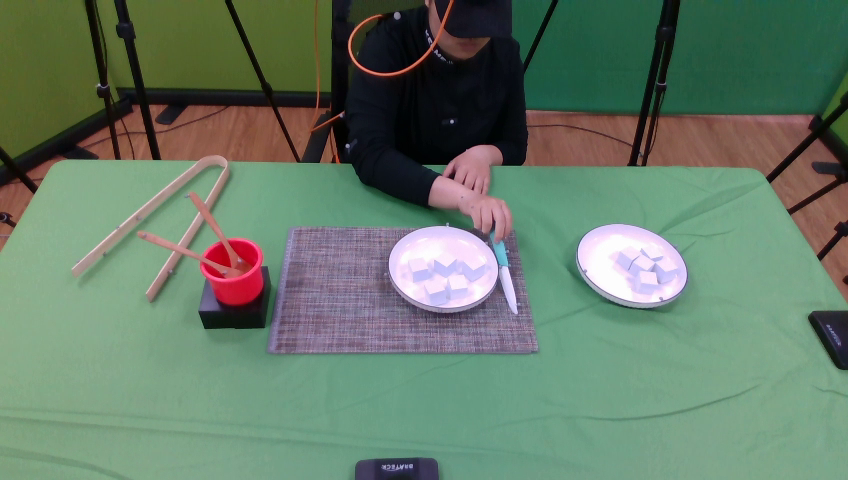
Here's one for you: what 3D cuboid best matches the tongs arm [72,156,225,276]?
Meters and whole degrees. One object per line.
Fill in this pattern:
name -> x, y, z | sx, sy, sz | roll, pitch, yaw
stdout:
tongs arm -> -0.531, -0.057, 1.205 | 0.050, 0.026, 0.383 | 19, 47, 13

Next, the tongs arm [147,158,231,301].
tongs arm -> -0.454, -0.034, 1.194 | 0.028, 0.028, 0.385 | 7, 46, 6

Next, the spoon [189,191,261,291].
spoon -> -0.333, 0.001, 1.012 | 0.041, 0.194, 0.021 | -34, 15, -25

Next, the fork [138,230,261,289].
fork -> -0.360, 0.032, 0.981 | 0.208, 0.018, 0.028 | 31, 60, -30

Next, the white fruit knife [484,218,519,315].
white fruit knife -> 0.149, 0.045, 1.133 | 0.027, 0.016, 0.206 | -29, 59, 29

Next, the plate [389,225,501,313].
plate -> 0.038, 0.057, 1.128 | 0.208, 0.039, 0.206 | 2, 46, -2

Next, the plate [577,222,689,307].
plate -> 0.396, 0.050, 1.165 | 0.209, 0.038, 0.208 | 2, 47, -2
